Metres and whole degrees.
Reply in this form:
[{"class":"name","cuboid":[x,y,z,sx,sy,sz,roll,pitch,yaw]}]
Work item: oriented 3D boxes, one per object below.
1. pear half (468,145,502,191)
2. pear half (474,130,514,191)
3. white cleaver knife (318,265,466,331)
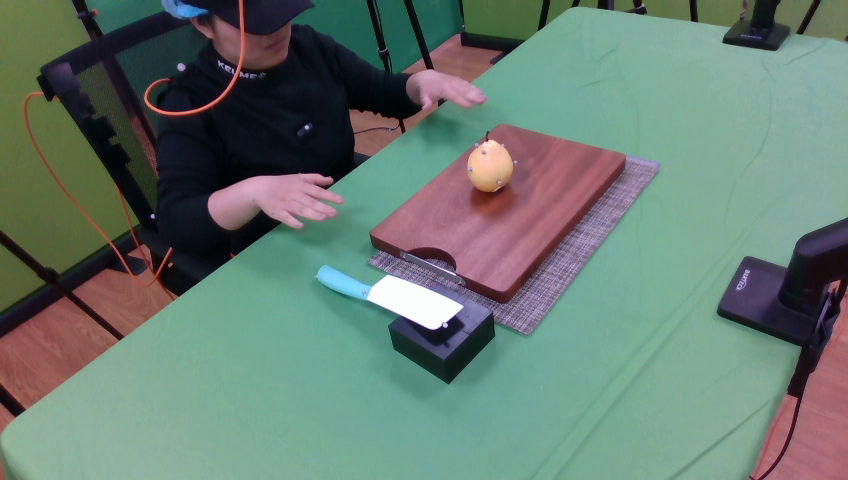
[{"class":"pear half","cuboid":[0.097,-0.116,1.007,0.070,0.088,0.031,27,52,26]},{"class":"pear half","cuboid":[0.119,-0.142,1.019,0.076,0.110,0.056,26,51,30]},{"class":"white cleaver knife","cuboid":[-0.056,0.075,0.871,0.284,0.021,0.066,17,42,43]}]
